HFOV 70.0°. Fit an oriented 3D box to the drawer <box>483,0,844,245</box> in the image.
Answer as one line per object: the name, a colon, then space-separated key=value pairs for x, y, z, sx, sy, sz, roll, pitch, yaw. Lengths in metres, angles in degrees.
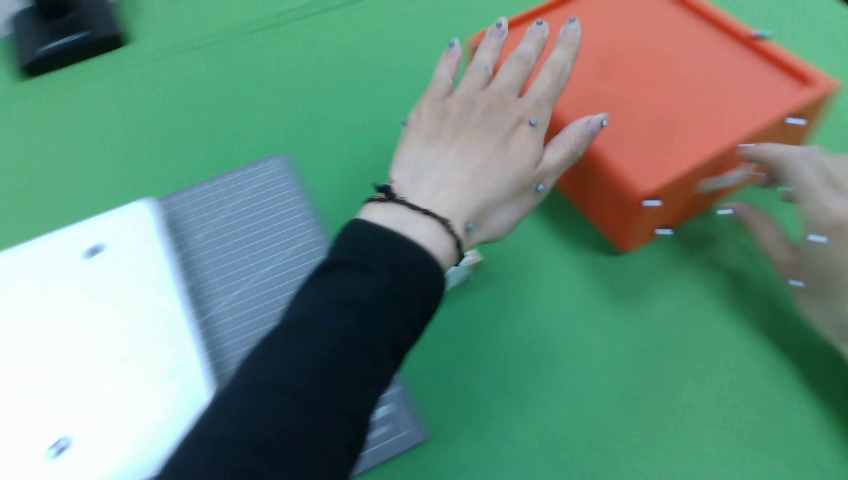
drawer: x=0.183 y=-0.124 z=0.506 sx=0.194 sy=0.074 sz=0.209 roll=-28 pitch=58 yaw=-12

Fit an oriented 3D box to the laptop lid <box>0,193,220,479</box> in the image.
laptop lid: x=-0.337 y=0.112 z=0.416 sx=0.357 sy=0.013 sz=0.239 roll=-22 pitch=59 yaw=-10

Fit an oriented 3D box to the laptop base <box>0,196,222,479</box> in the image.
laptop base: x=-0.337 y=0.117 z=0.428 sx=0.354 sy=0.023 sz=0.233 roll=-23 pitch=61 yaw=-11

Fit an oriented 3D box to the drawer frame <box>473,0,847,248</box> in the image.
drawer frame: x=0.181 y=-0.125 z=0.506 sx=0.202 sy=0.083 sz=0.211 roll=-29 pitch=57 yaw=-13

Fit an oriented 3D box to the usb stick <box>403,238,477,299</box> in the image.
usb stick: x=0.014 y=0.018 z=0.459 sx=0.059 sy=0.027 sz=0.021 roll=-29 pitch=56 yaw=-18
